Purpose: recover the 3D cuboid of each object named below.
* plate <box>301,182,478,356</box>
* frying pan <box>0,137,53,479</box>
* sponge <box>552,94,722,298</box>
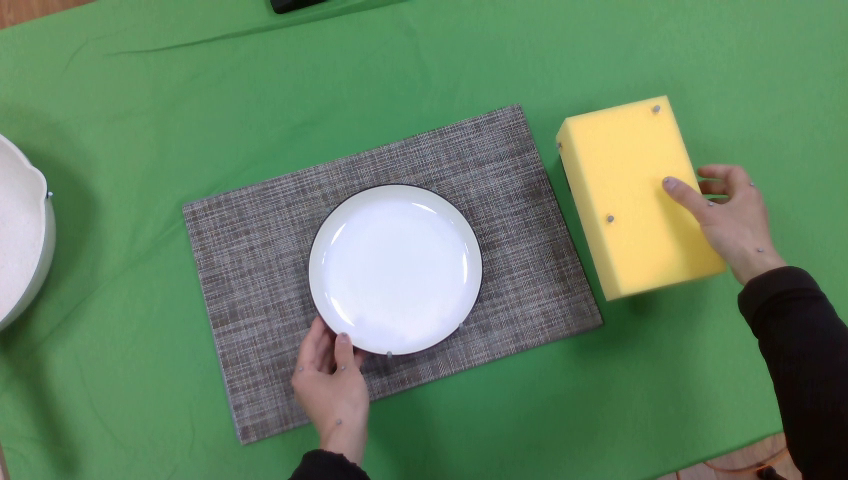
[{"bbox_3d":[-0.040,0.035,0.726,0.208,0.039,0.206,0,79,0],"label":"plate"},{"bbox_3d":[-0.537,0.088,0.686,0.307,0.103,0.484,-25,71,-4],"label":"frying pan"},{"bbox_3d":[0.234,-0.049,0.683,0.118,0.061,0.206,-14,79,-3],"label":"sponge"}]
